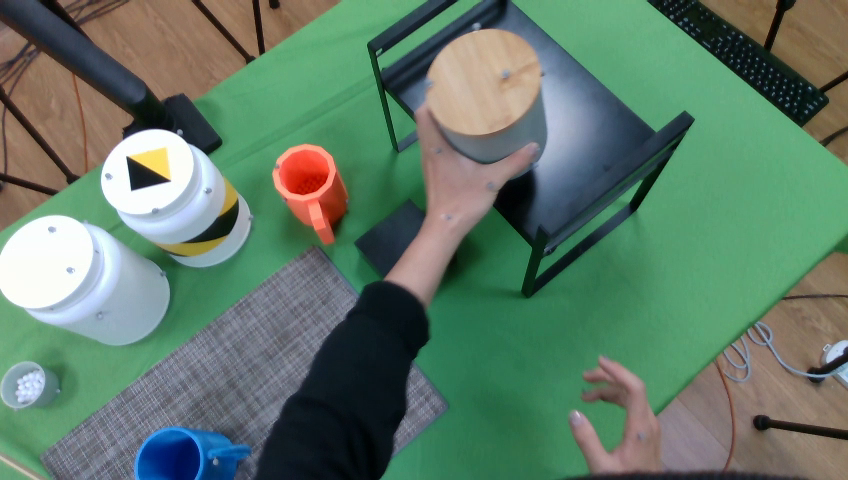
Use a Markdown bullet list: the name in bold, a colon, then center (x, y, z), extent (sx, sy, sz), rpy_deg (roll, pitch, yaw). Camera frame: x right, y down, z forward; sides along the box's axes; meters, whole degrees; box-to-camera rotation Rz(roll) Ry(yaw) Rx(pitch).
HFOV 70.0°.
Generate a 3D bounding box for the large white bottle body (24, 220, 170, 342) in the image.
- **large white bottle body**: center (-0.431, 0.052, 0.782), extent (0.130, 0.186, 0.129), rpy_deg (-1, 70, 4)

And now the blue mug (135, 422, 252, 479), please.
- **blue mug**: center (-0.269, 0.263, 0.737), extent (0.116, 0.106, 0.081), rpy_deg (-15, 70, -2)

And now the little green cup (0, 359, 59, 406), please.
- **little green cup**: center (-0.529, 0.193, 0.817), extent (0.061, 0.039, 0.061), rpy_deg (-1, 71, 2)

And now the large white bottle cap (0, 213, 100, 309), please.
- **large white bottle cap**: center (-0.436, 0.023, 0.703), extent (0.115, 0.018, 0.114), rpy_deg (-1, 71, 4)

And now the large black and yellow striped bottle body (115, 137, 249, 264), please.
- **large black and yellow striped bottle body**: center (-0.327, -0.054, 0.814), extent (0.131, 0.185, 0.130), rpy_deg (-1, 70, 4)

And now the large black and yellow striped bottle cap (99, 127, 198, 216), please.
- **large black and yellow striped bottle cap**: center (-0.334, -0.084, 0.736), extent (0.115, 0.019, 0.114), rpy_deg (-1, 70, 2)

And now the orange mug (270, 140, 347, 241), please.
- **orange mug**: center (-0.156, -0.065, 0.853), extent (0.083, 0.101, 0.125), rpy_deg (-17, 66, -2)

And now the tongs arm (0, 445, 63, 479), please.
- **tongs arm**: center (-0.583, 0.262, 0.779), extent (0.387, 0.028, 0.028), rpy_deg (26, 65, 5)

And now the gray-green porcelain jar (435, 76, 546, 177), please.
- **gray-green porcelain jar**: center (0.070, -0.131, 0.628), extent (0.105, 0.127, 0.105), rpy_deg (-5, 72, 15)

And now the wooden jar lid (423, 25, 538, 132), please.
- **wooden jar lid**: center (0.053, -0.149, 0.570), extent (0.108, 0.021, 0.108), rpy_deg (-4, 74, 15)
